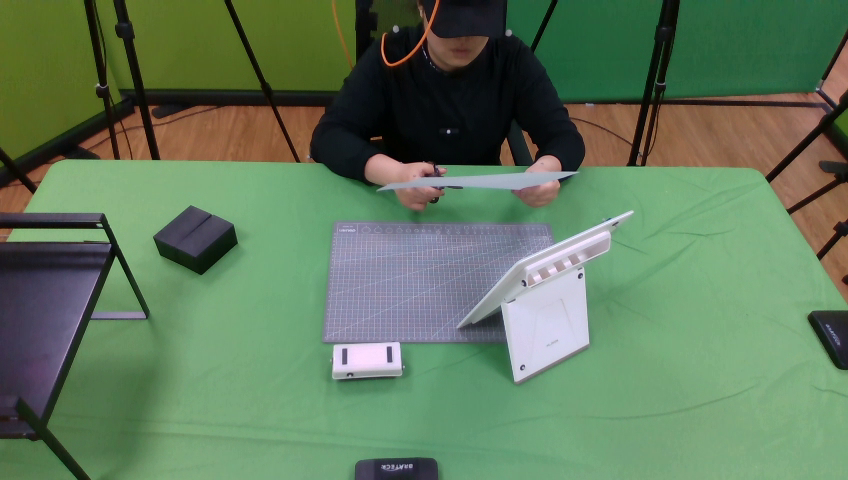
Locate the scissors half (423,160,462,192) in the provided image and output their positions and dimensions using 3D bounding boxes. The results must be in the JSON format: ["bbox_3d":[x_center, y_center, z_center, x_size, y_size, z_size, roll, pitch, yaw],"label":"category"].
[{"bbox_3d":[0.036,-0.119,1.166,0.013,0.040,0.174,-3,24,-23],"label":"scissors half"}]

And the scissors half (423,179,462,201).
[{"bbox_3d":[0.035,-0.098,1.171,0.013,0.040,0.175,-9,3,-22],"label":"scissors half"}]

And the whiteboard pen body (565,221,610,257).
[{"bbox_3d":[0.335,-0.005,1.228,0.141,0.017,0.017,-33,57,-28],"label":"whiteboard pen body"}]

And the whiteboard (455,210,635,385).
[{"bbox_3d":[0.211,0.111,0.955,0.217,0.306,0.143,-21,71,-23],"label":"whiteboard"}]

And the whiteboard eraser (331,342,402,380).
[{"bbox_3d":[-0.094,0.198,0.986,0.113,0.042,0.055,-2,44,-6],"label":"whiteboard eraser"}]

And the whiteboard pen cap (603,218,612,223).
[{"bbox_3d":[0.379,-0.031,1.255,0.033,0.018,0.018,-33,56,-30],"label":"whiteboard pen cap"}]
